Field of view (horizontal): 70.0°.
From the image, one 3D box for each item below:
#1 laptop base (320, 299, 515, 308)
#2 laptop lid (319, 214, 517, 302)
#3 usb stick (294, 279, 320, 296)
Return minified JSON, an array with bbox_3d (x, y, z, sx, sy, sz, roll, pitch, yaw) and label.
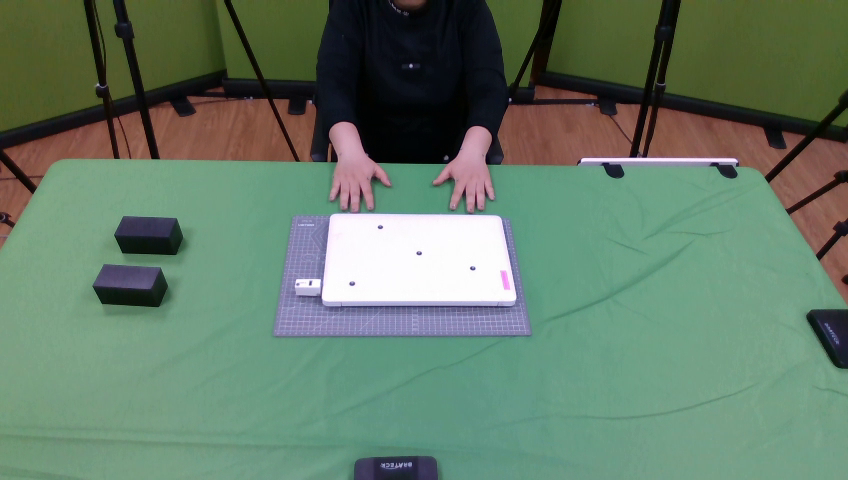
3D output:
[{"bbox_3d":[-0.013,0.039,1.160,0.355,0.023,0.234,0,43,-4],"label":"laptop base"},{"bbox_3d":[-0.012,0.029,1.154,0.357,0.013,0.240,2,43,-3],"label":"laptop lid"},{"bbox_3d":[-0.202,0.086,1.084,0.059,0.027,0.021,3,46,-5],"label":"usb stick"}]
